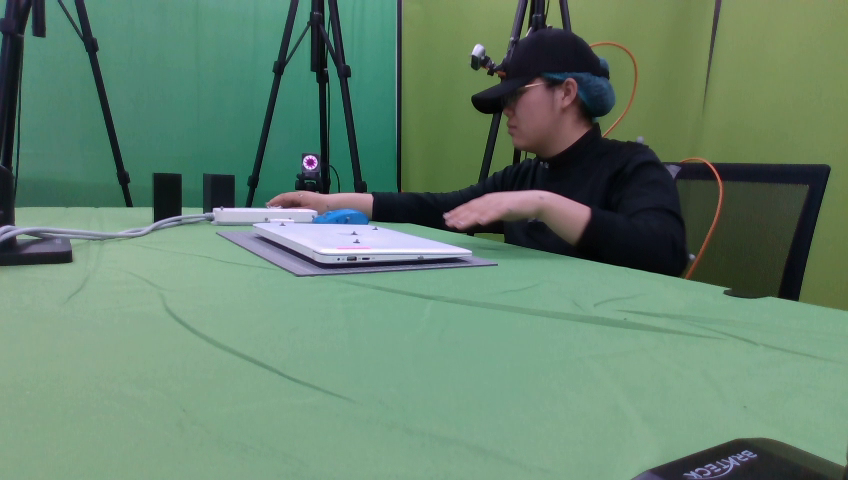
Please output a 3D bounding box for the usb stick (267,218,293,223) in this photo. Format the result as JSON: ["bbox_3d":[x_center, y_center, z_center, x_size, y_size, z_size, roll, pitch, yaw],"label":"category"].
[{"bbox_3d":[-0.272,-0.026,1.108,0.059,0.027,0.021,-4,11,-27],"label":"usb stick"}]

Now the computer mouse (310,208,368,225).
[{"bbox_3d":[-0.179,-0.045,1.274,0.118,0.041,0.062,-6,13,-29],"label":"computer mouse"}]

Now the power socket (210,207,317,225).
[{"bbox_3d":[-0.335,-0.051,1.282,0.228,0.032,0.072,-1,9,-28],"label":"power socket"}]

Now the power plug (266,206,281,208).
[{"bbox_3d":[-0.343,-0.051,1.362,0.053,0.035,0.072,-24,-19,-20],"label":"power plug"}]

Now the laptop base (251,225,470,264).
[{"bbox_3d":[-0.116,0.007,0.955,0.237,0.023,0.352,2,6,-31],"label":"laptop base"}]

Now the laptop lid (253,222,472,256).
[{"bbox_3d":[-0.113,-0.005,0.955,0.243,0.013,0.355,1,7,-29],"label":"laptop lid"}]
